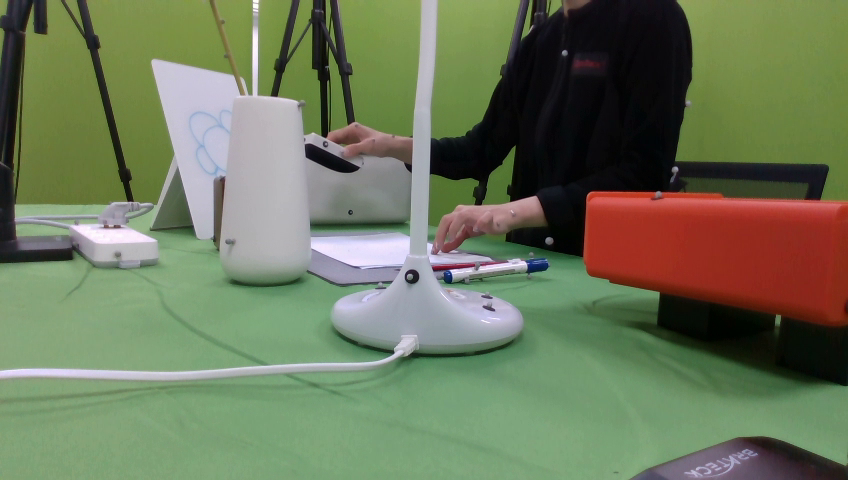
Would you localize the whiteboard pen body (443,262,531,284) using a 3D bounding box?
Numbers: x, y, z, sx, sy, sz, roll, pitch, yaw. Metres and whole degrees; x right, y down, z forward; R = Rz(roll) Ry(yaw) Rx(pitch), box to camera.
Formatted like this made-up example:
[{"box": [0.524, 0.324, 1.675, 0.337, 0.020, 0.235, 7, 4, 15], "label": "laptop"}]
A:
[{"box": [0.088, 0.038, 0.734, 0.141, 0.017, 0.017, -5, 10, -27], "label": "whiteboard pen body"}]

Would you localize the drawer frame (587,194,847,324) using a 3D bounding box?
[{"box": [0.285, 0.004, 0.508, 0.203, 0.082, 0.212, -1, 6, -30], "label": "drawer frame"}]

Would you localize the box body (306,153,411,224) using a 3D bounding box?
[{"box": [-0.230, -0.126, 1.371, 0.366, 0.160, 0.253, -2, 9, -33], "label": "box body"}]

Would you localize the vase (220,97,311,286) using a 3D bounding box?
[{"box": [-0.172, -0.052, 0.662, 0.098, 0.200, 0.098, 3, 8, 0], "label": "vase"}]

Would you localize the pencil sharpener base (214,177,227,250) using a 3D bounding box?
[{"box": [-0.265, -0.036, 0.870, 0.061, 0.107, 0.076, -2, 8, -29], "label": "pencil sharpener base"}]

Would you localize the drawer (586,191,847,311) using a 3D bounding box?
[{"box": [0.281, 0.001, 0.512, 0.195, 0.073, 0.210, -1, 8, -29], "label": "drawer"}]

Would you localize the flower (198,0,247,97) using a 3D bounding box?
[{"box": [-0.187, -0.133, 0.648, 0.038, 0.362, 0.044, -1, 22, 43], "label": "flower"}]

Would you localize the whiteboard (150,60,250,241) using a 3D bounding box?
[{"box": [-0.408, -0.139, 1.093, 0.143, 0.305, 0.218, -15, -1, 26], "label": "whiteboard"}]

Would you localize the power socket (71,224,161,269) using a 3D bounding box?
[{"box": [-0.408, 0.004, 0.793, 0.072, 0.032, 0.225, -2, 8, -38], "label": "power socket"}]

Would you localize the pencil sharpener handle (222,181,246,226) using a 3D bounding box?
[{"box": [-0.289, -0.055, 0.912, 0.036, 0.067, 0.030, -3, 9, -29], "label": "pencil sharpener handle"}]

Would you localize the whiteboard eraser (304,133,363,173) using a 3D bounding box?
[{"box": [-0.169, -0.152, 1.081, 0.113, 0.042, 0.055, 21, -14, -37], "label": "whiteboard eraser"}]

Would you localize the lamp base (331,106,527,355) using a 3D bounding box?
[{"box": [0.006, -0.012, 0.478, 0.161, 0.180, 0.179, 2, 10, 2], "label": "lamp base"}]

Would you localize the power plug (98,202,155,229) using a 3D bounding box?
[{"box": [-0.416, -0.027, 0.848, 0.073, 0.052, 0.035, 0, 8, -28], "label": "power plug"}]

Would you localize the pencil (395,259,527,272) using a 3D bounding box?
[{"box": [0.053, 0.035, 0.783, 0.195, 0.012, 0.012, -3, 9, -25], "label": "pencil"}]

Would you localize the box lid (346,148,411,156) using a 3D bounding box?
[{"box": [-0.229, -0.200, 1.360, 0.373, 0.015, 0.262, -3, 9, -33], "label": "box lid"}]

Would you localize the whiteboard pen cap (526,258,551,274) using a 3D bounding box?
[{"box": [0.141, 0.033, 0.759, 0.033, 0.018, 0.018, -7, 11, -26], "label": "whiteboard pen cap"}]
